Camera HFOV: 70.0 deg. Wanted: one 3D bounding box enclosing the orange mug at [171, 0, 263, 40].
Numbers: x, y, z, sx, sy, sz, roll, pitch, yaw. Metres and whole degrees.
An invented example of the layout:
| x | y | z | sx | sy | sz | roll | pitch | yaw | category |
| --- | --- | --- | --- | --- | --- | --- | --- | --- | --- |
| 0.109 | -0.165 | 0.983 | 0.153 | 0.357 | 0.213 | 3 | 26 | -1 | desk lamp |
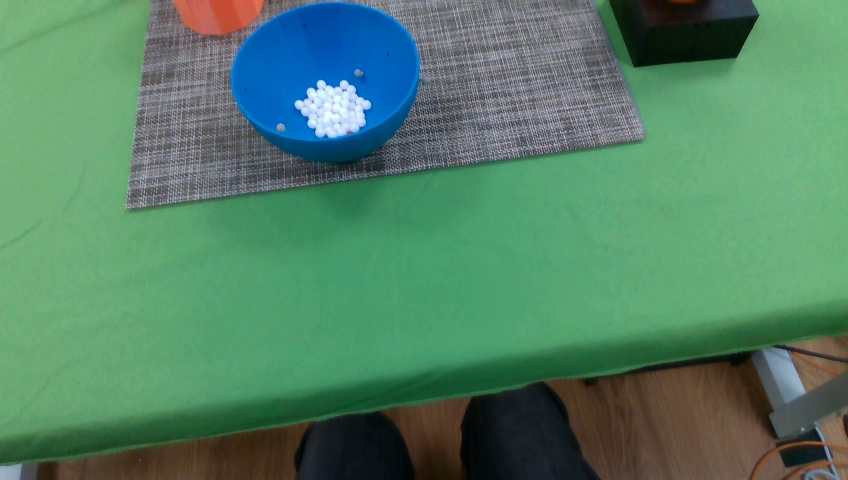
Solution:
| x | y | z | sx | sy | sz | roll | pitch | yaw | category |
| --- | --- | --- | --- | --- | --- | --- | --- | --- | --- |
| -0.211 | -0.277 | 0.597 | 0.083 | 0.101 | 0.125 | 3 | 65 | 4 | orange mug |

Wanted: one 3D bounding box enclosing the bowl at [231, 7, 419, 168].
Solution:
| x | y | z | sx | sy | sz | roll | pitch | yaw | category |
| --- | --- | --- | --- | --- | --- | --- | --- | --- | --- |
| -0.077 | -0.115 | 0.513 | 0.151 | 0.077 | 0.150 | -1 | 60 | 1 | bowl |
